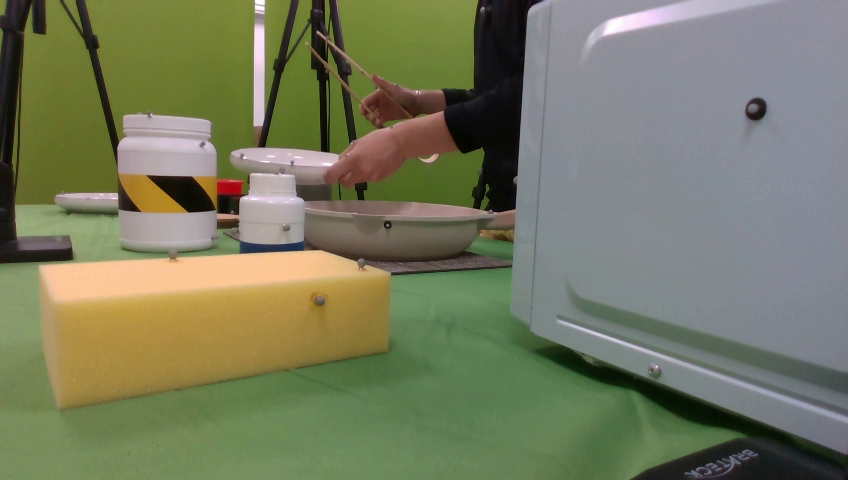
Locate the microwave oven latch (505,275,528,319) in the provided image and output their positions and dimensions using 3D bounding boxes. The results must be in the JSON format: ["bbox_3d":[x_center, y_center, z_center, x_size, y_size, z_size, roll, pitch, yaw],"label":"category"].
[{"bbox_3d":[0.100,0.041,0.471,0.079,0.029,0.030,-1,7,-28],"label":"microwave oven latch"}]

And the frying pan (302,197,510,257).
[{"bbox_3d":[0.050,-0.035,0.915,0.487,0.102,0.307,-5,7,10],"label":"frying pan"}]

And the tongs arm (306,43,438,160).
[{"bbox_3d":[-0.109,-0.294,1.332,0.389,0.028,0.027,40,0,-30],"label":"tongs arm"}]

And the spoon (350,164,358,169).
[{"bbox_3d":[-0.229,-0.161,1.222,0.194,0.021,0.041,3,1,-16],"label":"spoon"}]

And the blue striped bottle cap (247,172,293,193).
[{"bbox_3d":[-0.152,-0.057,0.598,0.044,0.020,0.044,3,7,0],"label":"blue striped bottle cap"}]

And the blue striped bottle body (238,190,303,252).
[{"bbox_3d":[-0.153,-0.007,0.606,0.063,0.120,0.063,2,7,0],"label":"blue striped bottle body"}]

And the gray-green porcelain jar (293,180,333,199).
[{"bbox_3d":[-0.238,-0.091,1.221,0.106,0.126,0.106,2,7,0],"label":"gray-green porcelain jar"}]

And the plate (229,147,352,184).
[{"bbox_3d":[-0.230,-0.129,1.050,0.208,0.039,0.207,5,15,-1],"label":"plate"}]

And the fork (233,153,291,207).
[{"bbox_3d":[-0.396,-0.144,1.486,0.028,0.018,0.208,20,-26,45],"label":"fork"}]

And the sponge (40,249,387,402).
[{"bbox_3d":[-0.142,0.047,0.420,0.208,0.061,0.117,-3,8,-36],"label":"sponge"}]

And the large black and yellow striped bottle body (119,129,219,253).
[{"bbox_3d":[-0.367,-0.080,0.876,0.131,0.184,0.130,2,7,0],"label":"large black and yellow striped bottle body"}]

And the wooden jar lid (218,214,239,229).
[{"bbox_3d":[-0.404,-0.037,1.169,0.108,0.020,0.108,4,7,0],"label":"wooden jar lid"}]

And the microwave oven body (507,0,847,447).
[{"bbox_3d":[0.331,-0.042,0.425,0.444,0.260,0.324,-2,8,-31],"label":"microwave oven body"}]

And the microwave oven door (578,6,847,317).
[{"bbox_3d":[0.294,-0.067,0.570,0.358,0.243,0.039,-3,9,-31],"label":"microwave oven door"}]

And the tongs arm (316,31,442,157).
[{"bbox_3d":[-0.094,-0.311,1.331,0.387,0.050,0.026,34,6,-30],"label":"tongs arm"}]

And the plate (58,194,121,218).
[{"bbox_3d":[-0.671,-0.074,1.310,0.209,0.038,0.209,2,8,0],"label":"plate"}]

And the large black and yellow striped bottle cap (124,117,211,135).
[{"bbox_3d":[-0.366,-0.163,0.866,0.115,0.019,0.115,3,7,0],"label":"large black and yellow striped bottle cap"}]
